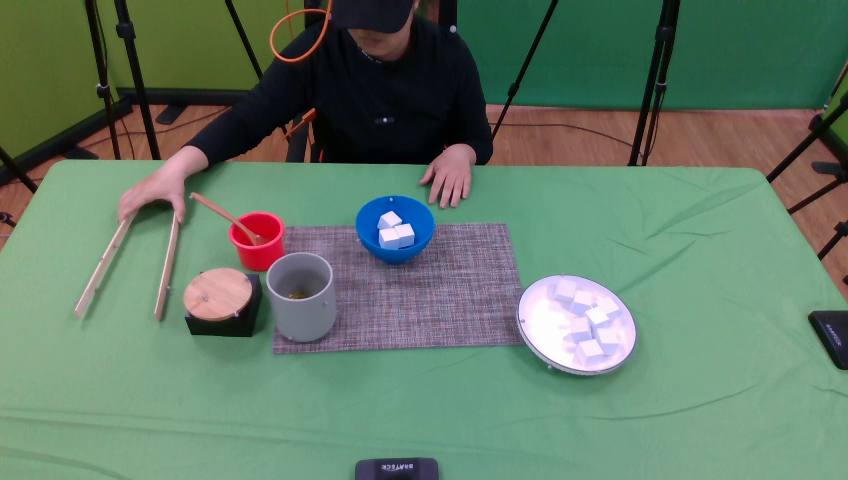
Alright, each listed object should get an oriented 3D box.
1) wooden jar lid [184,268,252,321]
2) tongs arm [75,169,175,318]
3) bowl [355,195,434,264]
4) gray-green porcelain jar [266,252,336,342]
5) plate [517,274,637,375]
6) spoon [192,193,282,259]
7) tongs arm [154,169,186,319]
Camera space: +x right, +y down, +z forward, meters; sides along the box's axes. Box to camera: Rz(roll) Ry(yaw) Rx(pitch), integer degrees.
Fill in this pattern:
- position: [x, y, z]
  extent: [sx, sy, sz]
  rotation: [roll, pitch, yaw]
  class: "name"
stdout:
- position: [-0.343, 0.093, 1.015]
  extent: [0.108, 0.021, 0.107]
  rotation: [3, 46, -3]
  class: "wooden jar lid"
- position: [-0.558, -0.008, 1.155]
  extent: [0.051, 0.026, 0.382]
  rotation: [2, 45, -1]
  class: "tongs arm"
- position: [-0.056, -0.008, 1.158]
  extent: [0.151, 0.077, 0.150]
  rotation: [2, 46, -2]
  class: "bowl"
- position: [-0.202, 0.100, 1.009]
  extent: [0.106, 0.127, 0.105]
  rotation: [2, 46, -2]
  class: "gray-green porcelain jar"
- position: [0.264, 0.149, 1.060]
  extent: [0.209, 0.038, 0.208]
  rotation: [3, 46, -3]
  class: "plate"
- position: [-0.342, -0.027, 1.115]
  extent: [0.194, 0.021, 0.041]
  rotation: [43, 40, -24]
  class: "spoon"
- position: [-0.487, -0.007, 1.161]
  extent: [0.028, 0.028, 0.385]
  rotation: [-8, 46, -6]
  class: "tongs arm"
